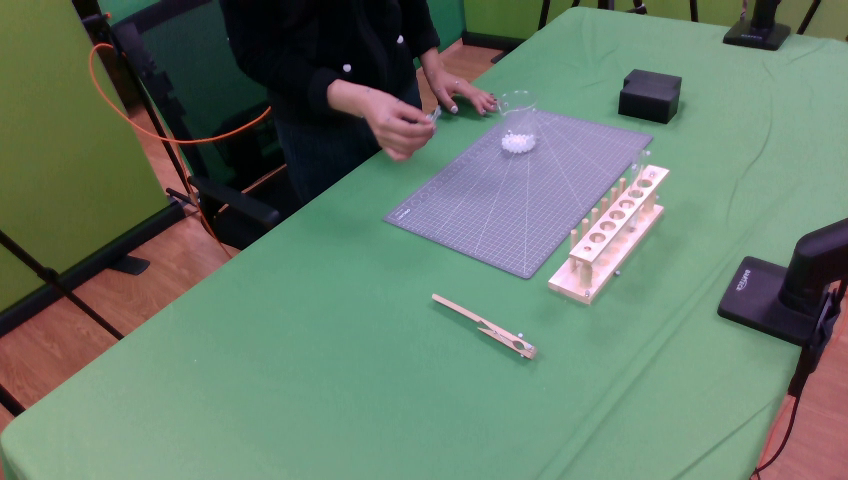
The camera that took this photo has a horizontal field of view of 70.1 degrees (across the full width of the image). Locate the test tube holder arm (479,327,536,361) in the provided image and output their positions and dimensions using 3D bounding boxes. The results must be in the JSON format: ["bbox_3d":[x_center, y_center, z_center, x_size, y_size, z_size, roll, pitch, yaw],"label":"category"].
[{"bbox_3d":[0.110,0.134,0.805,0.087,0.015,0.010,29,82,36],"label":"test tube holder arm"}]

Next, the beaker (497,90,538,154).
[{"bbox_3d":[0.176,-0.220,1.143,0.073,0.101,0.084,27,52,36],"label":"beaker"}]

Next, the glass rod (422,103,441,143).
[{"bbox_3d":[0.011,-0.191,0.998,0.008,0.199,0.008,1,83,-7],"label":"glass rod"}]

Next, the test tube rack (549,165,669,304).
[{"bbox_3d":[0.279,-0.018,0.902,0.066,0.085,0.243,24,50,33],"label":"test tube rack"}]

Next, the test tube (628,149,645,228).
[{"bbox_3d":[0.309,-0.071,0.882,0.017,0.151,0.017,-7,46,8],"label":"test tube"}]

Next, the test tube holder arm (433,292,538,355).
[{"bbox_3d":[0.081,0.112,0.832,0.177,0.015,0.013,28,82,36],"label":"test tube holder arm"}]
